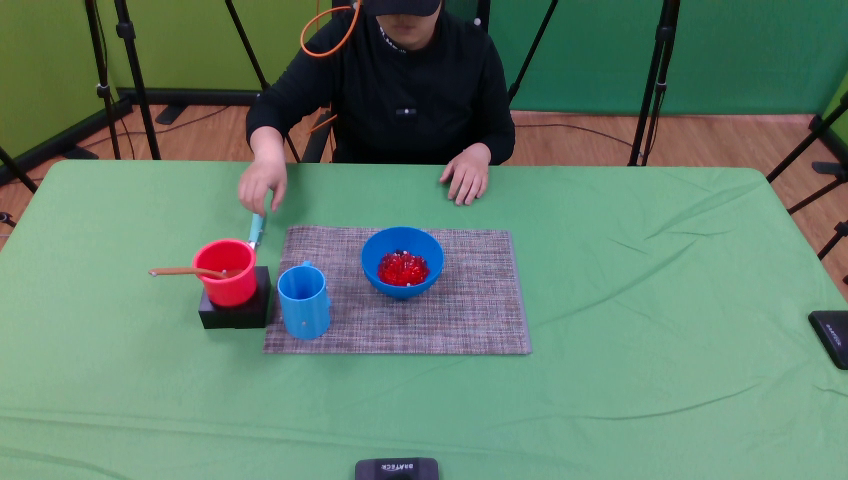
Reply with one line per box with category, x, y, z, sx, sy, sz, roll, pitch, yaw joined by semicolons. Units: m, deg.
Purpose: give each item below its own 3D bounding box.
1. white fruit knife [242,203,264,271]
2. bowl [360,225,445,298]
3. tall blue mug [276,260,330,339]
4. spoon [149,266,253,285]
white fruit knife;-0.334;0.000;1.179;0.027;0.016;0.206;-18;46;16
bowl;-0.040;0.053;1.099;0.151;0.077;0.150;2;46;-2
tall blue mug;-0.208;0.094;1.025;0.078;0.108;0.106;-21;51;-21
spoon;-0.351;0.052;0.968;0.041;0.021;0.194;41;12;28
